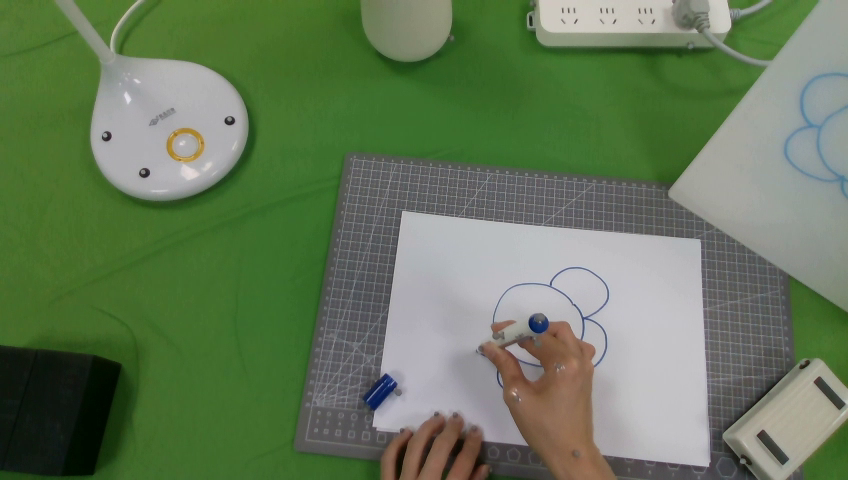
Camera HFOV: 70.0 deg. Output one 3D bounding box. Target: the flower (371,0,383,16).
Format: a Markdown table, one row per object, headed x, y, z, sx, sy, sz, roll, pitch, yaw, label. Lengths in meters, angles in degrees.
| x | y | z | sx | sy | sz | roll | pitch | yaw | label |
| --- | --- | --- | --- | --- | --- | --- | --- | --- | --- |
| -0.004 | -0.286 | 0.510 | 0.044 | 0.361 | 0.038 | -37 | 92 | -20 | flower |

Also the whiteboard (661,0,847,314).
| x | y | z | sx | sy | sz | roll | pitch | yaw | label |
| --- | --- | --- | --- | --- | --- | --- | --- | --- | --- |
| 0.398 | -0.113 | 0.515 | 0.216 | 0.307 | 0.143 | 36 | 54 | 12 | whiteboard |

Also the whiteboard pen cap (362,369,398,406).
| x | y | z | sx | sy | sz | roll | pitch | yaw | label |
| --- | --- | --- | --- | --- | --- | --- | --- | --- | --- |
| -0.039 | 0.133 | 0.550 | 0.018 | 0.018 | 0.033 | 41 | 74 | 13 | whiteboard pen cap |

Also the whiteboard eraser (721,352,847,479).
| x | y | z | sx | sy | sz | roll | pitch | yaw | label |
| --- | --- | --- | --- | --- | --- | --- | --- | --- | --- |
| 0.317 | 0.152 | 0.530 | 0.112 | 0.042 | 0.055 | -37 | 74 | -11 | whiteboard eraser |

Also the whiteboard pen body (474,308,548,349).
| x | y | z | sx | sy | sz | roll | pitch | yaw | label |
| --- | --- | --- | --- | --- | --- | --- | --- | --- | --- |
| 0.067 | 0.078 | 0.504 | 0.017 | 0.141 | 0.017 | 5 | 71 | -14 | whiteboard pen body |

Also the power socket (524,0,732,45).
| x | y | z | sx | sy | sz | roll | pitch | yaw | label |
| --- | --- | --- | --- | --- | --- | --- | --- | --- | --- |
| 0.227 | -0.255 | 0.673 | 0.227 | 0.033 | 0.072 | 1 | 72 | 0 | power socket |

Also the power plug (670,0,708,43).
| x | y | z | sx | sy | sz | roll | pitch | yaw | label |
| --- | --- | --- | --- | --- | --- | --- | --- | --- | --- |
| 0.278 | -0.233 | 0.642 | 0.035 | 0.053 | 0.072 | 11 | 78 | 4 | power plug |

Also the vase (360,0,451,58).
| x | y | z | sx | sy | sz | roll | pitch | yaw | label |
| --- | --- | --- | --- | --- | --- | --- | --- | --- | --- |
| -0.022 | -0.269 | 0.591 | 0.098 | 0.201 | 0.097 | 0 | 71 | 2 | vase |

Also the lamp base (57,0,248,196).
| x | y | z | sx | sy | sz | roll | pitch | yaw | label |
| --- | --- | --- | --- | --- | --- | --- | --- | --- | --- |
| -0.275 | -0.152 | 0.562 | 0.178 | 0.181 | 0.160 | 38 | 75 | 15 | lamp base |
